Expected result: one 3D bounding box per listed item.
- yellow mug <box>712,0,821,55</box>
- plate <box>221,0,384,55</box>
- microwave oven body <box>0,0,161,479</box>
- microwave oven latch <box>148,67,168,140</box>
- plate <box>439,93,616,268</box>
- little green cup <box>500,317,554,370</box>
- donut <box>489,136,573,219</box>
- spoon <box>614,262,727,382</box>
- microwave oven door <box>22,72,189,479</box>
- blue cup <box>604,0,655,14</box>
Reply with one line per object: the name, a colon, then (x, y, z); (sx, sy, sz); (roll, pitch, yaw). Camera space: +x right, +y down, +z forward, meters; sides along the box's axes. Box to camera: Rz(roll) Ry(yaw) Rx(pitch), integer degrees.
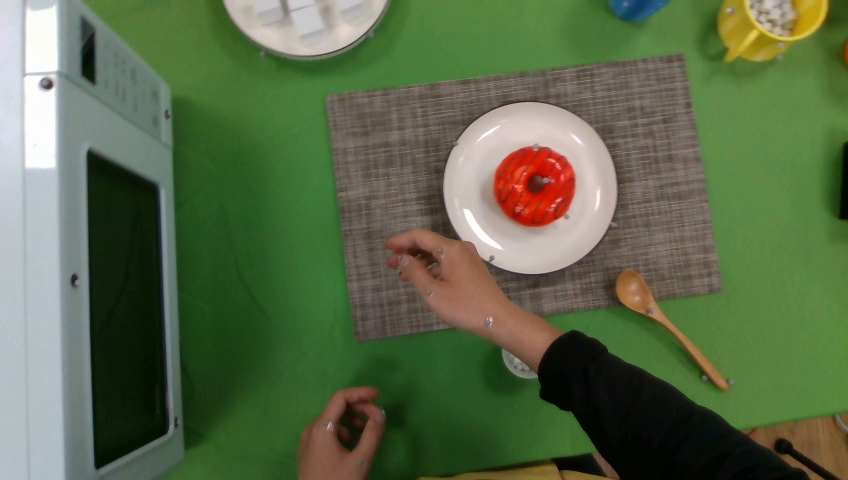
yellow mug: (0.405, -0.278, 0.737); (0.100, 0.064, 0.131); (40, 86, 2)
plate: (-0.145, -0.322, 0.736); (0.208, 0.039, 0.207); (0, 85, -2)
microwave oven body: (-0.444, 0.022, 0.583); (0.326, 0.260, 0.440); (-5, 86, -3)
microwave oven latch: (-0.314, -0.156, 0.698); (0.030, 0.029, 0.079); (-3, 86, -3)
plate: (0.120, -0.069, 0.721); (0.209, 0.038, 0.208); (0, 86, -2)
little green cup: (0.118, 0.120, 0.709); (0.061, 0.039, 0.061); (0, 83, -2)
donut: (0.125, -0.073, 0.710); (0.099, 0.048, 0.099); (0, 87, 0)
spoon: (0.295, 0.101, 0.723); (0.193, 0.021, 0.041); (45, 69, 1)
microwave oven door: (-0.295, 0.053, 0.581); (0.039, 0.244, 0.355); (-5, 85, -2)
blue cup: (0.255, -0.318, 0.718); (0.093, 0.100, 0.092); (0, 87, -2)
